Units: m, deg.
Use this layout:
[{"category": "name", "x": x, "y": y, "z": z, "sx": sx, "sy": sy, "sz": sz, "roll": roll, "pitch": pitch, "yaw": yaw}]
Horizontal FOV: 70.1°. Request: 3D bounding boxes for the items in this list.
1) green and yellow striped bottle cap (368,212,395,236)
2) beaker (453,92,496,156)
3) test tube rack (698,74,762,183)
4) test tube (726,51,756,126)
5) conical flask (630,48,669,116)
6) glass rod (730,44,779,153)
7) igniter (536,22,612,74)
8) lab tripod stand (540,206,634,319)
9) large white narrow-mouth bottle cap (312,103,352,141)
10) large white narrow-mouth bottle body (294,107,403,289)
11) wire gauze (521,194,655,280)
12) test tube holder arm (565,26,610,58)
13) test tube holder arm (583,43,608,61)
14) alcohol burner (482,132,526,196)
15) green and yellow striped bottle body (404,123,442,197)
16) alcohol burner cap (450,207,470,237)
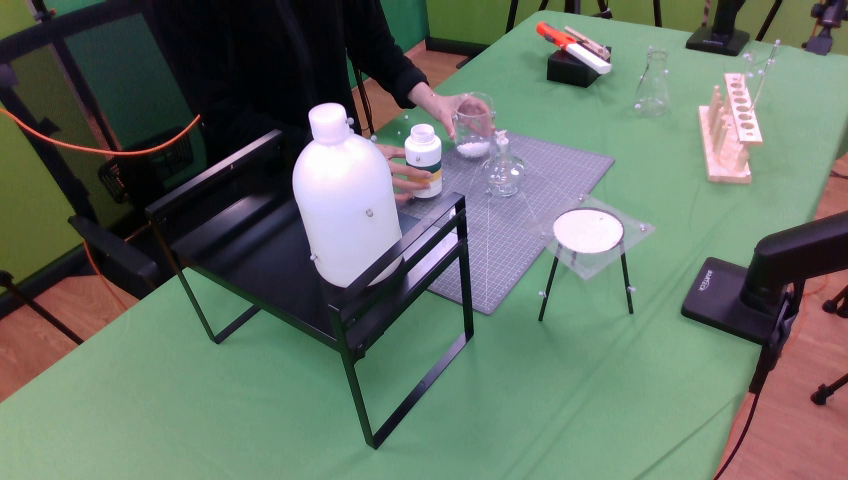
[{"category": "green and yellow striped bottle cap", "x": -0.071, "y": -0.028, "z": 1.021, "sx": 0.045, "sy": 0.020, "sz": 0.045, "roll": -5, "pitch": 40, "yaw": 5}, {"category": "beaker", "x": 0.090, "y": -0.213, "z": 1.116, "sx": 0.074, "sy": 0.100, "sz": 0.083, "roll": -17, "pitch": 50, "yaw": -12}, {"category": "test tube rack", "x": 0.547, "y": -0.208, "z": 1.095, "sx": 0.066, "sy": 0.085, "sz": 0.242, "roll": 5, "pitch": 42, "yaw": 15}, {"category": "test tube", "x": 0.568, "y": -0.268, "z": 1.086, "sx": 0.017, "sy": 0.151, "sz": 0.017, "roll": -4, "pitch": 46, "yaw": 4}, {"category": "conical flask", "x": 0.456, "y": -0.317, "z": 1.205, "sx": 0.075, "sy": 0.122, "sz": 0.075, "roll": -4, "pitch": 41, "yaw": 4}, {"category": "glass rod", "x": 0.555, "y": -0.233, "z": 1.020, "sx": 0.008, "sy": 0.200, "sz": 0.008, "roll": 2, "pitch": 40, "yaw": -1}, {"category": "igniter", "x": 0.330, "y": -0.439, "z": 1.366, "sx": 0.057, "sy": 0.025, "sz": 0.274, "roll": -11, "pitch": 41, "yaw": -20}, {"category": "lab tripod stand", "x": 0.218, "y": 0.034, "z": 0.821, "sx": 0.148, "sy": 0.132, "sz": 0.147, "roll": -4, "pitch": 42, "yaw": 4}, {"category": "large white narrow-mouth bottle cap", "x": -0.088, "y": -0.113, "z": 0.579, "sx": 0.038, "sy": 0.024, "sz": 0.037, "roll": -3, "pitch": 39, "yaw": 3}, {"category": "large white narrow-mouth bottle body", "x": -0.082, "y": -0.047, "z": 0.634, "sx": 0.102, "sy": 0.195, "sz": 0.101, "roll": -4, "pitch": 39, "yaw": 4}, {"category": "wire gauze", "x": 0.207, "y": -0.012, "z": 0.772, "sx": 0.122, "sy": 0.011, "sz": 0.124, "roll": -28, "pitch": 44, "yaw": -20}, {"category": "test tube holder arm", "x": 0.369, "y": -0.450, "z": 1.373, "sx": 0.013, "sy": 0.015, "sz": 0.177, "roll": -39, "pitch": 41, "yaw": 10}, {"category": "test tube holder arm", "x": 0.379, "y": -0.420, "z": 1.341, "sx": 0.010, "sy": 0.015, "sz": 0.087, "roll": -39, "pitch": 41, "yaw": 10}, {"category": "alcohol burner", "x": 0.137, "y": -0.136, "z": 1.042, "sx": 0.078, "sy": 0.119, "sz": 0.077, "roll": -4, "pitch": 43, "yaw": 4}, {"category": "green and yellow striped bottle body", "x": -0.001, "y": -0.139, "z": 1.037, "sx": 0.063, "sy": 0.120, "sz": 0.063, "roll": -2, "pitch": 40, "yaw": 2}, {"category": "alcohol burner cap", "x": 0.057, "y": -0.032, "z": 0.987, "sx": 0.034, "sy": 0.048, "sz": 0.033, "roll": -4, "pitch": 41, "yaw": 4}]
